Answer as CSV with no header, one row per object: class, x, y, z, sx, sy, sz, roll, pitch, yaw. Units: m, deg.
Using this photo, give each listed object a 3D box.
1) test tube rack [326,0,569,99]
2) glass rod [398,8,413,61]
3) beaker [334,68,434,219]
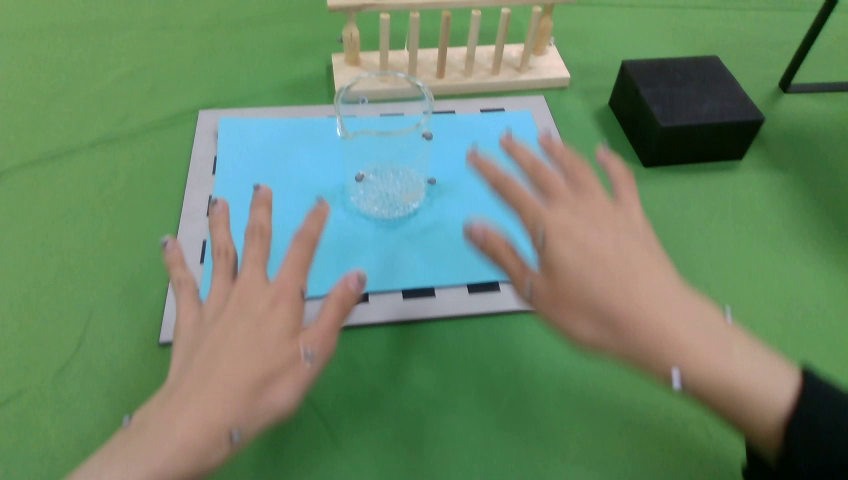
test tube rack,0.026,-0.204,0.611,0.243,0.086,0.066,-5,50,-8
glass rod,-0.007,-0.259,0.569,0.008,0.201,0.008,7,45,-7
beaker,-0.033,-0.071,0.482,0.073,0.101,0.084,33,56,23
